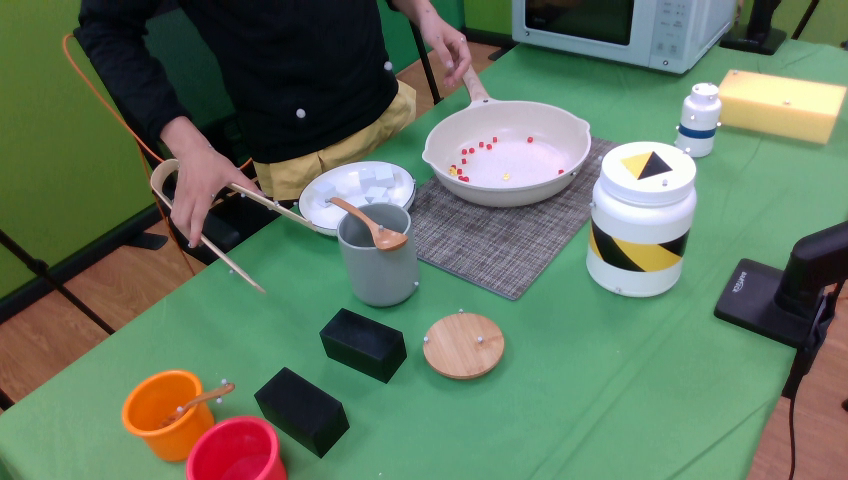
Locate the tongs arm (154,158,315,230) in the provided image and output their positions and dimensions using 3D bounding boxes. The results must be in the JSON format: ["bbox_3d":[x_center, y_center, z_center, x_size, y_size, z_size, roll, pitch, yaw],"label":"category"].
[{"bbox_3d":[-0.311,-0.071,0.952,0.381,0.027,0.051,26,76,35],"label":"tongs arm"}]

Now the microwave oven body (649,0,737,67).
[{"bbox_3d":[0.475,-0.602,1.411,0.438,0.261,0.327,23,50,32],"label":"microwave oven body"}]

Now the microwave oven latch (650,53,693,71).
[{"bbox_3d":[0.531,-0.386,1.301,0.078,0.029,0.030,26,51,33],"label":"microwave oven latch"}]

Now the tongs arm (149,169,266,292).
[{"bbox_3d":[-0.347,-0.022,0.939,0.384,0.028,0.028,34,84,37],"label":"tongs arm"}]

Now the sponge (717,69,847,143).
[{"bbox_3d":[0.663,-0.256,1.142,0.205,0.061,0.118,19,47,28],"label":"sponge"}]

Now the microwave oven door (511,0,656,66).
[{"bbox_3d":[0.351,-0.539,1.349,0.353,0.245,0.039,24,50,31],"label":"microwave oven door"}]

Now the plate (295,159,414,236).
[{"bbox_3d":[-0.118,-0.070,1.055,0.207,0.039,0.206,-5,39,5],"label":"plate"}]

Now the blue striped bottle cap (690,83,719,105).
[{"bbox_3d":[0.481,-0.251,1.038,0.044,0.021,0.044,-5,40,5],"label":"blue striped bottle cap"}]

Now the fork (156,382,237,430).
[{"bbox_3d":[-0.262,0.189,0.690,0.206,0.018,0.028,-34,10,42],"label":"fork"}]

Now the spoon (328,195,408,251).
[{"bbox_3d":[-0.083,-0.029,0.829,0.042,0.022,0.192,-33,43,-20],"label":"spoon"}]

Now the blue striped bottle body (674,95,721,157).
[{"bbox_3d":[0.486,-0.213,1.071,0.063,0.121,0.063,-4,41,4],"label":"blue striped bottle body"}]

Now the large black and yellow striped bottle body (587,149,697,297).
[{"bbox_3d":[0.298,-0.026,0.835,0.131,0.185,0.130,-4,41,4],"label":"large black and yellow striped bottle body"}]

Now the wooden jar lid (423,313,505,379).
[{"bbox_3d":[0.053,0.142,0.800,0.108,0.021,0.108,-5,39,4],"label":"wooden jar lid"}]

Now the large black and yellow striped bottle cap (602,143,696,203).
[{"bbox_3d":[0.289,-0.088,0.779,0.115,0.019,0.114,-5,39,4],"label":"large black and yellow striped bottle cap"}]

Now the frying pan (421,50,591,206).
[{"bbox_3d":[0.127,-0.233,1.155,0.307,0.103,0.484,-11,49,-5],"label":"frying pan"}]

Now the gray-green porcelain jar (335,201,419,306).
[{"bbox_3d":[-0.064,0.024,0.872,0.106,0.127,0.105,-4,41,4],"label":"gray-green porcelain jar"}]
